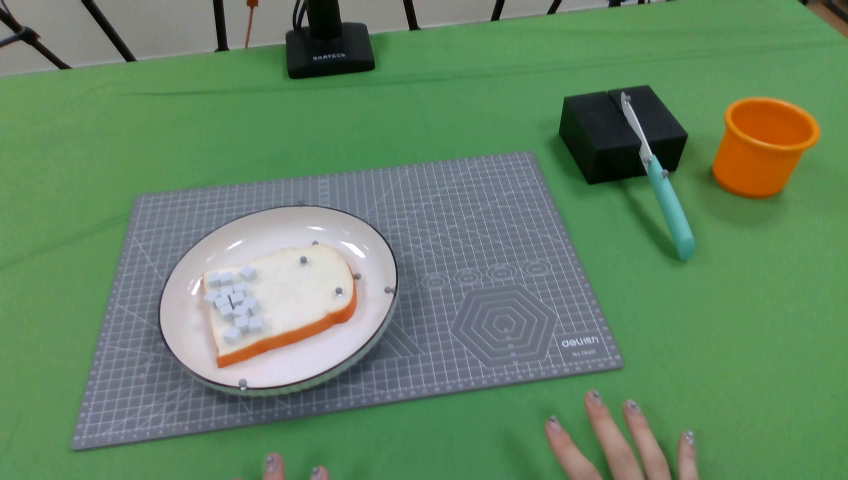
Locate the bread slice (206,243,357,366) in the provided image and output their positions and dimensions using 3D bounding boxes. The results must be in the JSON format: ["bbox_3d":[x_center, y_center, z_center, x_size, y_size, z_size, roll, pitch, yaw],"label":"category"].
[{"bbox_3d":[-0.129,0.048,0.551,0.132,0.019,0.103,-19,50,-13],"label":"bread slice"}]

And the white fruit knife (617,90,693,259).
[{"bbox_3d":[0.234,-0.077,0.627,0.016,0.027,0.205,-9,62,-6],"label":"white fruit knife"}]

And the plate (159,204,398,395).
[{"bbox_3d":[-0.126,0.050,0.545,0.209,0.038,0.207,-1,47,1],"label":"plate"}]
